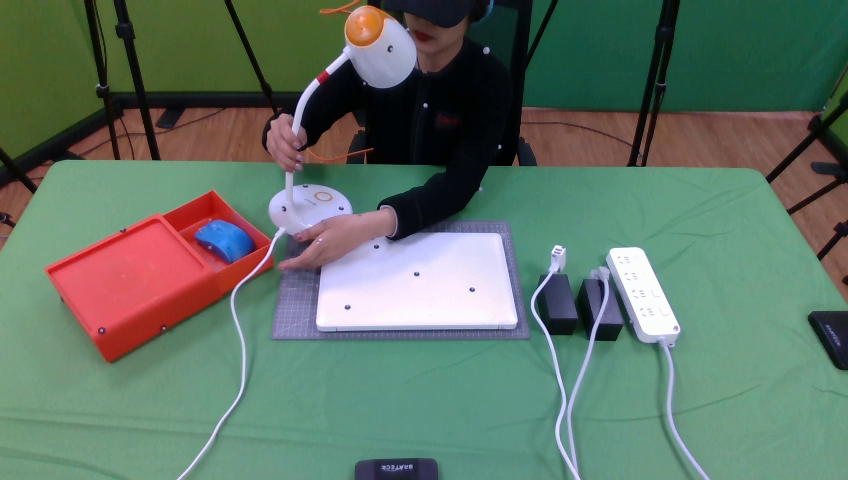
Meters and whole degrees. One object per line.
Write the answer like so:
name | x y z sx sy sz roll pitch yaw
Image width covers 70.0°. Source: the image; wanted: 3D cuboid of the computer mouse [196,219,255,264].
computer mouse | -0.380 -0.003 1.153 0.116 0.041 0.062 28 53 28

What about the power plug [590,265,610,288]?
power plug | 0.318 0.073 1.108 0.035 0.053 0.072 26 34 13

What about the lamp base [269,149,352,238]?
lamp base | -0.214 -0.110 1.115 0.160 0.181 0.178 23 44 15

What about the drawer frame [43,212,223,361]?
drawer frame | -0.497 0.073 1.049 0.213 0.083 0.200 -34 57 -31

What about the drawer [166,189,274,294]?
drawer | -0.418 0.022 1.108 0.193 0.073 0.211 37 55 27

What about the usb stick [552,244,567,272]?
usb stick | 0.251 0.039 1.124 0.021 0.059 0.027 14 48 25

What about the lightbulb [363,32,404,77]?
lightbulb | -0.072 -0.313 1.009 0.059 0.108 0.059 -3 79 18

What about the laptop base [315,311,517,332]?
laptop base | -0.016 0.075 1.125 0.355 0.023 0.234 0 42 -4

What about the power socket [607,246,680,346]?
power socket | 0.403 0.096 1.123 0.072 0.033 0.225 -2 46 -5

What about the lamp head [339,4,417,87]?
lamp head | -0.084 -0.323 0.989 0.112 0.123 0.112 -2 83 19

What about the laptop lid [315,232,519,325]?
laptop lid | -0.015 0.065 1.118 0.357 0.013 0.240 1 43 -3
